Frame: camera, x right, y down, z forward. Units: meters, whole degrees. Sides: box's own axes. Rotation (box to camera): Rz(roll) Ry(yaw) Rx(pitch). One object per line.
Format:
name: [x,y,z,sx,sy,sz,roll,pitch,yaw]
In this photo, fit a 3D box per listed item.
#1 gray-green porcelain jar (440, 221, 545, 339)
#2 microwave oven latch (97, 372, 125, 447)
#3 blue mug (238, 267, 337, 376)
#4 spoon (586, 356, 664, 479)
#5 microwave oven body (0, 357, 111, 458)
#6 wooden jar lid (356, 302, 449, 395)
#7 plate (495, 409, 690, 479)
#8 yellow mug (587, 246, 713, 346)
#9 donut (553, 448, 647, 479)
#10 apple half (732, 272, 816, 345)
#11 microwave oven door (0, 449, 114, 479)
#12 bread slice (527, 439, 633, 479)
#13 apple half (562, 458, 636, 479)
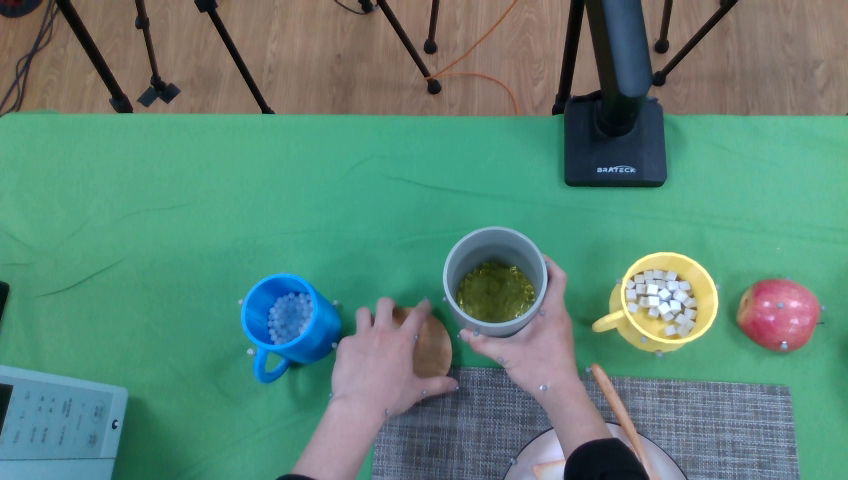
gray-green porcelain jar: [0.074,0.050,0.660,0.106,0.127,0.105,-2,71,5]
microwave oven latch: [-0.364,0.191,0.684,0.030,0.030,0.078,6,74,7]
blue mug: [-0.157,0.098,0.678,0.082,0.106,0.116,22,76,12]
spoon: [0.216,0.208,0.622,0.041,0.022,0.193,-23,80,-5]
microwave oven body: [-0.532,0.324,0.557,0.326,0.262,0.439,2,73,6]
wooden jar lid: [-0.024,0.126,0.699,0.108,0.021,0.107,-2,68,6]
plate: [0.171,0.281,0.620,0.207,0.039,0.206,-2,73,5]
yellow mug: [0.243,0.069,0.669,0.131,0.064,0.099,-21,71,-1]
donut: [0.174,0.257,0.598,0.099,0.048,0.098,-2,72,5]
apple half: [0.386,0.070,0.662,0.074,0.054,0.080,23,76,15]
microwave oven door: [-0.391,0.368,0.524,0.039,0.245,0.353,2,72,7]
bread slice: [0.176,0.280,0.622,0.107,0.018,0.133,-15,70,1]
apple half: [0.168,0.246,0.564,0.081,0.033,0.080,-4,69,11]
